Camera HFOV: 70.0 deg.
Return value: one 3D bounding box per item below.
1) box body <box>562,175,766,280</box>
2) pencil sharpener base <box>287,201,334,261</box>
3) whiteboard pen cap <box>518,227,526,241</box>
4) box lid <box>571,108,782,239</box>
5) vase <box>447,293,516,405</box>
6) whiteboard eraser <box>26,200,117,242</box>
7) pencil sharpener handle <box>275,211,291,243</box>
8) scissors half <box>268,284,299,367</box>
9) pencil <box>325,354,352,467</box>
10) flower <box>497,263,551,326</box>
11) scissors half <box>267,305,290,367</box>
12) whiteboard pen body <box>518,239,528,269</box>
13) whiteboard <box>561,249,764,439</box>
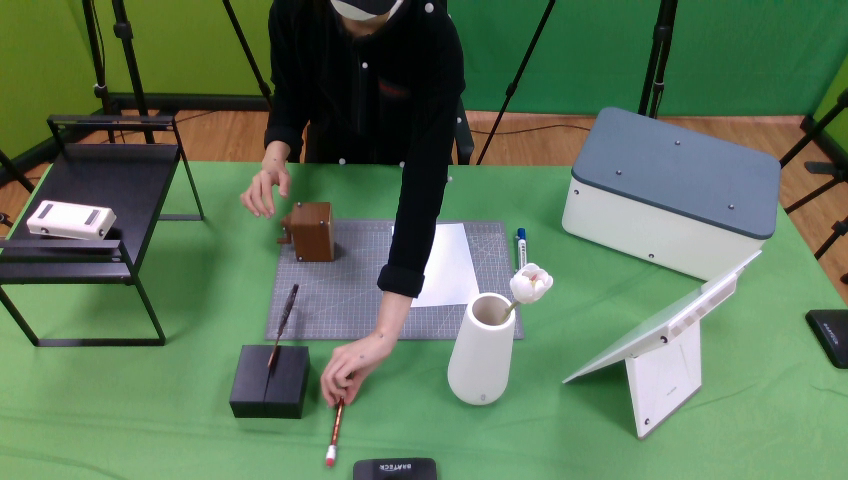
[{"bbox_3d":[0.486,-0.088,1.222,0.363,0.161,0.253,20,48,15],"label":"box body"},{"bbox_3d":[-0.211,-0.015,1.133,0.077,0.107,0.061,-1,47,-4],"label":"pencil sharpener base"},{"bbox_3d":[0.197,-0.009,1.220,0.018,0.018,0.033,6,51,1],"label":"whiteboard pen cap"},{"bbox_3d":[0.491,-0.139,1.168,0.370,0.015,0.262,21,49,15],"label":"box lid"},{"bbox_3d":[0.091,0.169,0.921,0.098,0.201,0.097,3,47,-3],"label":"vase"},{"bbox_3d":[-0.532,-0.026,0.919,0.113,0.042,0.055,7,45,3],"label":"whiteboard eraser"},{"bbox_3d":[-0.262,-0.022,1.118,0.031,0.068,0.036,-1,37,-4],"label":"pencil sharpener handle"},{"bbox_3d":[-0.230,0.135,0.986,0.013,0.040,0.174,19,42,-10],"label":"scissors half"},{"bbox_3d":[-0.130,0.259,0.947,0.012,0.012,0.193,6,45,2],"label":"pencil"},{"bbox_3d":[0.103,0.121,0.852,0.044,0.363,0.038,-2,64,-9],"label":"flower"},{"bbox_3d":[-0.238,0.150,0.996,0.013,0.040,0.174,23,24,-12],"label":"scissors half"},{"bbox_3d":[0.193,0.035,1.180,0.017,0.017,0.140,6,48,1],"label":"whiteboard pen body"},{"bbox_3d":[0.386,0.176,0.905,0.217,0.306,0.143,-26,72,-26],"label":"whiteboard"}]
